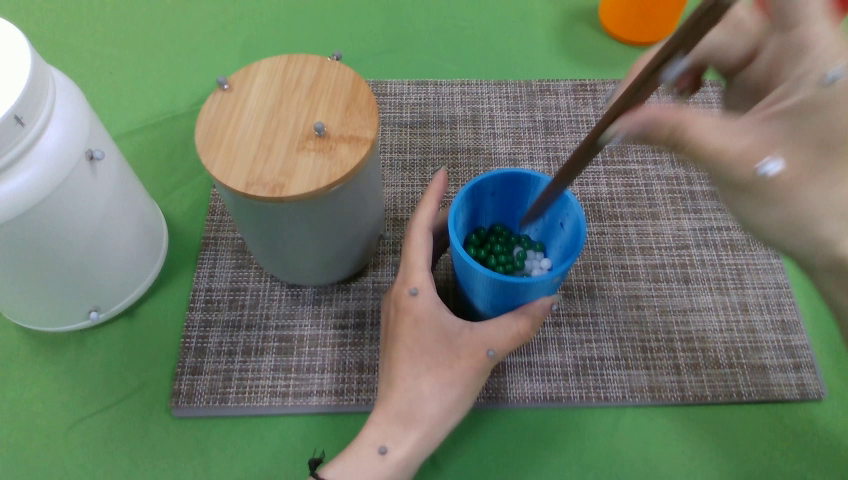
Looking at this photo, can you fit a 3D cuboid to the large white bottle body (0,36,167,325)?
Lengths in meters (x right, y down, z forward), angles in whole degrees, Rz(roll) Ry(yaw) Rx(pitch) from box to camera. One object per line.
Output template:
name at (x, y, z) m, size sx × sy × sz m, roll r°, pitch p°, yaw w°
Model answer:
large white bottle body at (-0.261, -0.037, 0.387) m, size 0.130 × 0.186 × 0.129 m, roll 0°, pitch 61°, yaw 0°

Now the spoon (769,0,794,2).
spoon at (0.380, -0.231, 0.530) m, size 0.041 × 0.192 × 0.022 m, roll -24°, pitch 109°, yaw -18°

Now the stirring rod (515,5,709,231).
stirring rod at (0.078, -0.044, 0.289) m, size 0.014 × 0.177 × 0.006 m, roll -23°, pitch 72°, yaw -21°

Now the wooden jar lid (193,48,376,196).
wooden jar lid at (-0.083, -0.070, 0.366) m, size 0.108 × 0.021 × 0.107 m, roll -1°, pitch 61°, yaw 2°

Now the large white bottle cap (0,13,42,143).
large white bottle cap at (-0.261, -0.079, 0.313) m, size 0.115 × 0.018 × 0.114 m, roll 1°, pitch 61°, yaw -1°

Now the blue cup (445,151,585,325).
blue cup at (0.055, 0.011, 0.409) m, size 0.092 × 0.101 × 0.092 m, roll 0°, pitch 58°, yaw 0°

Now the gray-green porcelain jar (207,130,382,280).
gray-green porcelain jar at (-0.084, -0.039, 0.421) m, size 0.106 × 0.127 × 0.105 m, roll 0°, pitch 61°, yaw 0°
